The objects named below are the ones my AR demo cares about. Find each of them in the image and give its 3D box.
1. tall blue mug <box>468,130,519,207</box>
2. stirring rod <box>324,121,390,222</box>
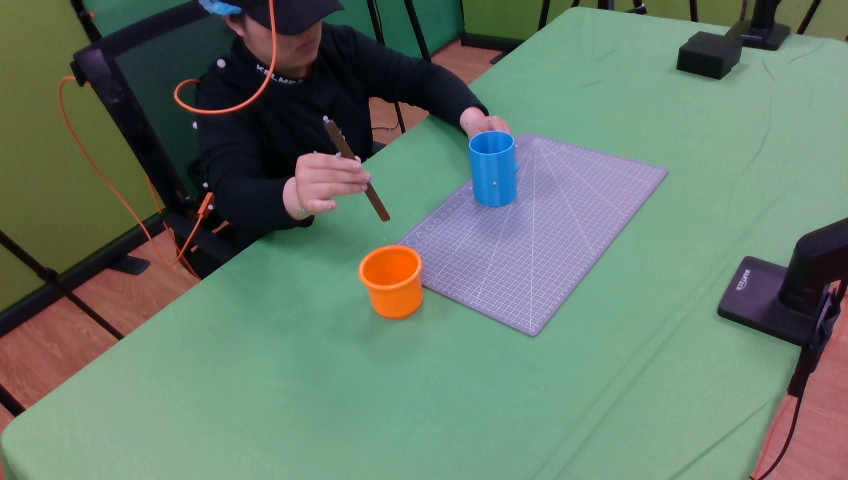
[{"bbox_3d":[0.114,-0.131,1.045,0.078,0.108,0.106,-20,41,-11],"label":"tall blue mug"},{"bbox_3d":[-0.086,-0.087,0.803,0.014,0.177,0.006,-18,41,13],"label":"stirring rod"}]
